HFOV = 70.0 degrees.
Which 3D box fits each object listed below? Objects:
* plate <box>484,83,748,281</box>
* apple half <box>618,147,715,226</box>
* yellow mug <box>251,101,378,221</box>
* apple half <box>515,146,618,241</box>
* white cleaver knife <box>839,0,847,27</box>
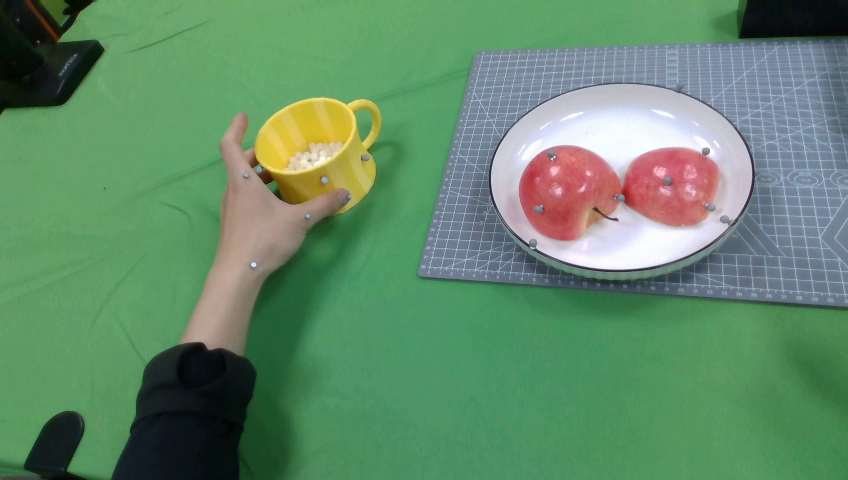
[{"bbox_3d":[0.156,-0.050,0.512,0.209,0.038,0.207,-7,53,10],"label":"plate"},{"bbox_3d":[0.197,-0.052,0.494,0.081,0.033,0.080,-7,56,10],"label":"apple half"},{"bbox_3d":[-0.096,-0.086,0.591,0.131,0.064,0.099,-42,56,-18],"label":"yellow mug"},{"bbox_3d":[0.115,-0.047,0.500,0.081,0.054,0.074,-33,50,-9],"label":"apple half"},{"bbox_3d":[0.399,-0.201,0.541,0.021,0.066,0.284,1,51,21],"label":"white cleaver knife"}]
